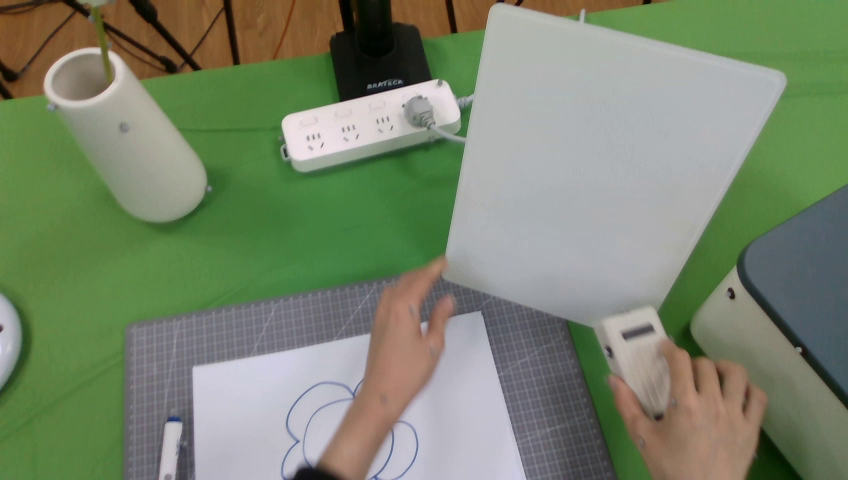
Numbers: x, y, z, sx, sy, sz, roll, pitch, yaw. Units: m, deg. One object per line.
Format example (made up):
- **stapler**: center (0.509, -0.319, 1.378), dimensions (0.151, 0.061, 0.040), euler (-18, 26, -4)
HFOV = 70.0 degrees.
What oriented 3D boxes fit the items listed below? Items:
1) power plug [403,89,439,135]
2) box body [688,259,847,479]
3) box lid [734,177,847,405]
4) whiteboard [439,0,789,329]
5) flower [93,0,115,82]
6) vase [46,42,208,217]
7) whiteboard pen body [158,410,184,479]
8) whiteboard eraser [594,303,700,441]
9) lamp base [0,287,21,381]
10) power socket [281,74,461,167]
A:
- **power plug**: center (-0.005, -0.142, 0.704), dimensions (0.035, 0.053, 0.072), euler (-6, 70, -3)
- **box body**: center (0.448, 0.127, 0.524), dimensions (0.254, 0.161, 0.361), euler (-27, 67, -13)
- **box lid**: center (0.447, 0.091, 0.458), dimensions (0.263, 0.015, 0.368), euler (-27, 67, -12)
- **whiteboard**: center (0.157, -0.081, 0.581), dimensions (0.216, 0.308, 0.143), euler (18, 45, 10)
- **flower**: center (-0.276, -0.138, 0.543), dimensions (0.038, 0.362, 0.044), euler (38, 60, -1)
- **vase**: center (-0.297, -0.105, 0.618), dimensions (0.098, 0.201, 0.097), euler (-1, 63, 1)
- **whiteboard pen body**: center (-0.234, 0.226, 0.550), dimensions (0.017, 0.017, 0.139), euler (-3, 66, -1)
- **whiteboard eraser**: center (0.196, 0.116, 0.540), dimensions (0.056, 0.042, 0.112), euler (-13, 73, -14)
- **lamp base**: center (-0.502, 0.070, 0.543), dimensions (0.178, 0.182, 0.160), euler (19, 65, 13)
- **power socket**: center (-0.062, -0.145, 0.730), dimensions (0.227, 0.033, 0.071), euler (-15, 66, -8)
